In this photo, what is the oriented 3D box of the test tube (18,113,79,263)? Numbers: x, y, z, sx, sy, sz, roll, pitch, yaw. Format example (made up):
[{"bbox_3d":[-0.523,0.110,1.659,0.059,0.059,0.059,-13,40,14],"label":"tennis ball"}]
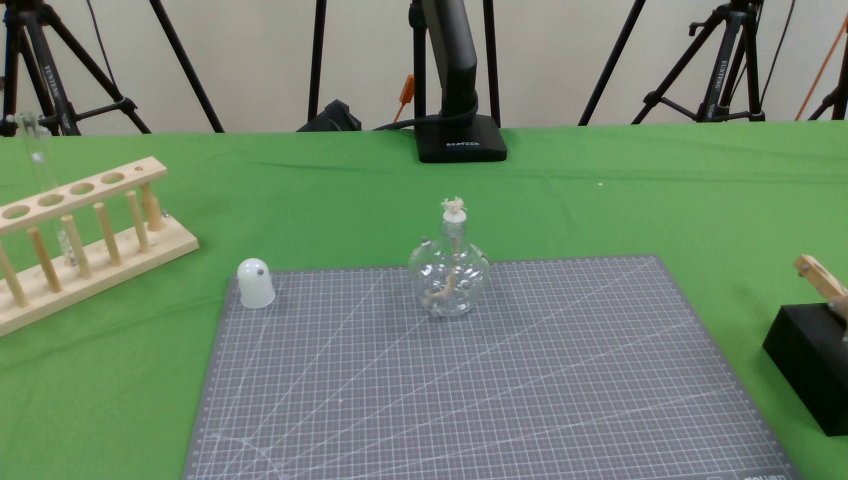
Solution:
[{"bbox_3d":[-0.344,-0.044,0.562,0.017,0.151,0.017,1,31,0],"label":"test tube"}]

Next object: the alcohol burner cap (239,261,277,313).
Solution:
[{"bbox_3d":[-0.158,0.041,0.572,0.034,0.048,0.033,2,38,-1],"label":"alcohol burner cap"}]

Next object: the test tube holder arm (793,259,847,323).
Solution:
[{"bbox_3d":[0.357,0.048,0.530,0.010,0.015,0.087,1,37,-13],"label":"test tube holder arm"}]

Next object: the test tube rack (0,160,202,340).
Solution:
[{"bbox_3d":[-0.345,0.012,0.571,0.242,0.086,0.066,-29,46,-35],"label":"test tube rack"}]

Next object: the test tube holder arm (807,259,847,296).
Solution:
[{"bbox_3d":[0.370,0.075,0.496,0.013,0.015,0.176,1,37,-14],"label":"test tube holder arm"}]

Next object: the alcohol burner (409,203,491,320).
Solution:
[{"bbox_3d":[0.025,0.015,0.556,0.078,0.120,0.077,2,38,-1],"label":"alcohol burner"}]
